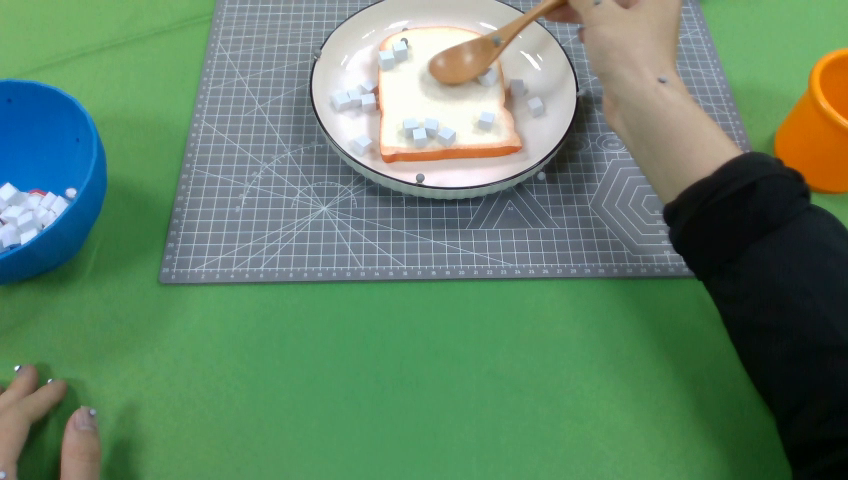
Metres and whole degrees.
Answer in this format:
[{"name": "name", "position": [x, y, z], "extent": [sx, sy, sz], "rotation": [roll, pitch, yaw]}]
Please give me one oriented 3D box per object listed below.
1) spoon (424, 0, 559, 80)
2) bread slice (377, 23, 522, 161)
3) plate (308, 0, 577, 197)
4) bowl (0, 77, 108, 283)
[{"name": "spoon", "position": [0.087, -0.173, 0.454], "extent": [0.193, 0.022, 0.041], "rotation": [-28, 53, 16]}, {"name": "bread slice", "position": [0.011, -0.121, 0.489], "extent": [0.107, 0.018, 0.133], "rotation": [-7, 63, -5]}, {"name": "plate", "position": [0.014, -0.118, 0.484], "extent": [0.209, 0.038, 0.207], "rotation": [0, 61, -1]}, {"name": "bowl", "position": [-0.279, -0.026, 0.406], "extent": [0.151, 0.077, 0.150], "rotation": [1, 61, -1]}]
